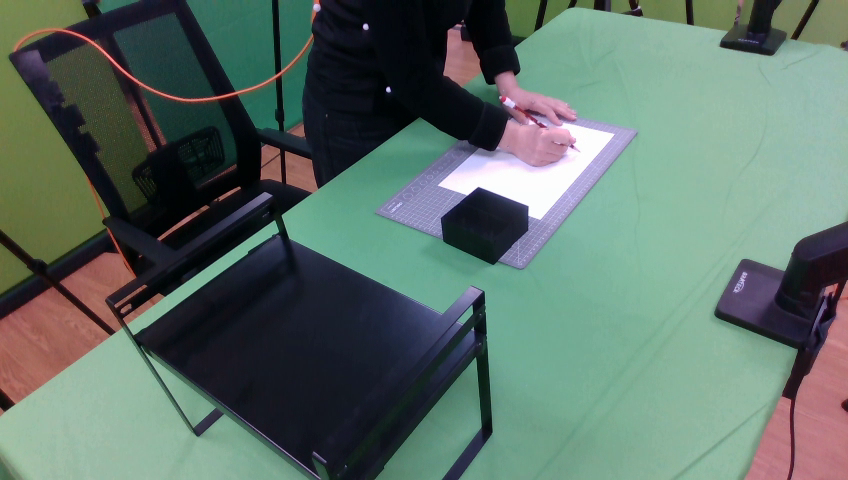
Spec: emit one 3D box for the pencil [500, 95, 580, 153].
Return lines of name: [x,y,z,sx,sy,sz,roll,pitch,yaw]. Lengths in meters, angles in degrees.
pencil: [0.214,-0.208,1.095,0.195,0.012,0.012,29,35,-22]
